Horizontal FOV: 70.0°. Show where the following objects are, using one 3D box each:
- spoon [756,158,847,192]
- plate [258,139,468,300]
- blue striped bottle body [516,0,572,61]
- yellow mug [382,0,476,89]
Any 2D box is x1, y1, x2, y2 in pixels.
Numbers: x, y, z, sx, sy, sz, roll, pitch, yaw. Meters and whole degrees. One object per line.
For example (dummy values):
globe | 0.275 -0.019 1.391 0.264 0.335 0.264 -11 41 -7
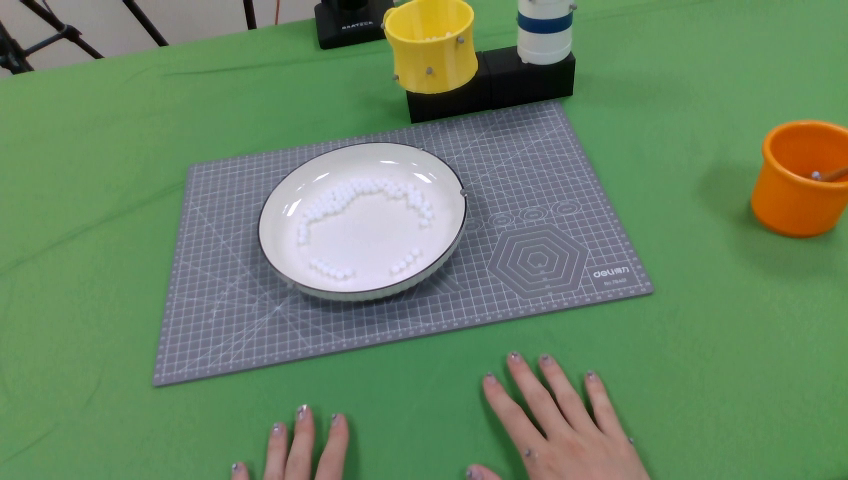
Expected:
spoon | 0.376 -0.067 0.514 0.041 0.193 0.022 -36 97 -24
plate | -0.058 -0.021 0.605 0.207 0.039 0.205 -4 49 5
blue striped bottle body | 0.133 -0.268 0.674 0.063 0.122 0.062 -4 49 5
yellow mug | -0.003 -0.236 0.703 0.129 0.064 0.100 31 59 32
